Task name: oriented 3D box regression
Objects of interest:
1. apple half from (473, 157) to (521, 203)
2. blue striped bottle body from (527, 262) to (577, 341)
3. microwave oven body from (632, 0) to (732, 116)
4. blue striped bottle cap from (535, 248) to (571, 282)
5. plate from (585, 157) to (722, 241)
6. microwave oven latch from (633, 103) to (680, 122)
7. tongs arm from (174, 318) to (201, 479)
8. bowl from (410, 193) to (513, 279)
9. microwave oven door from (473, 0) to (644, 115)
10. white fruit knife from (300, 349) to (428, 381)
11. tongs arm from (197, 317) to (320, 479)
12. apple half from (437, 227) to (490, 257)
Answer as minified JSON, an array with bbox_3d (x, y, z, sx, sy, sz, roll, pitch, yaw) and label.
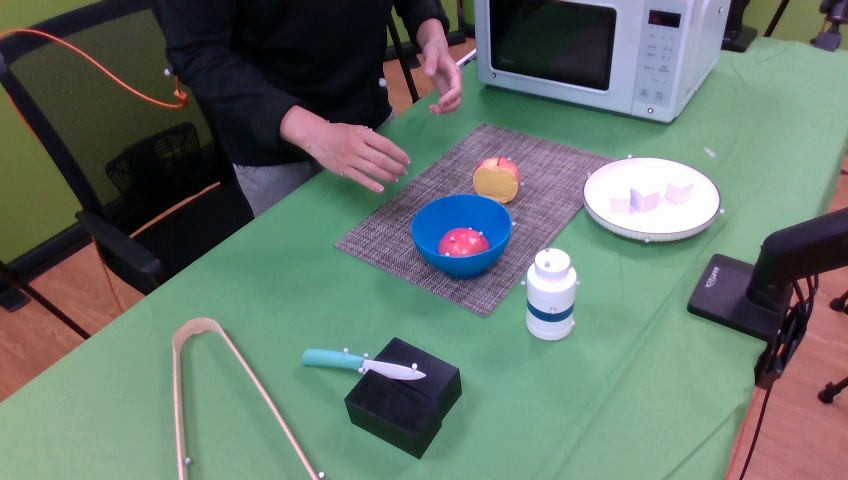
[{"bbox_3d":[0.127,-0.106,1.029,0.080,0.075,0.053,4,36,19],"label":"apple half"},{"bbox_3d":[0.165,0.070,0.786,0.063,0.121,0.063,-4,41,4],"label":"blue striped bottle body"},{"bbox_3d":[0.377,-0.463,1.267,0.438,0.261,0.327,21,48,30],"label":"microwave oven body"},{"bbox_3d":[0.161,0.031,0.753,0.044,0.021,0.044,-4,42,4],"label":"blue striped bottle cap"},{"bbox_3d":[0.367,-0.063,0.979,0.207,0.039,0.206,-4,40,4],"label":"plate"},{"bbox_3d":[0.443,-0.249,1.157,0.078,0.029,0.030,20,48,30],"label":"microwave oven latch"},{"bbox_3d":[-0.272,0.234,0.723,0.051,0.026,0.381,-19,40,-14],"label":"tongs arm"},{"bbox_3d":[0.058,0.005,0.905,0.151,0.077,0.150,-4,40,4],"label":"bowl"},{"bbox_3d":[0.257,-0.396,1.199,0.353,0.245,0.039,21,48,29],"label":"microwave oven door"},{"bbox_3d":[-0.080,0.155,0.748,0.206,0.027,0.016,0,20,34],"label":"white fruit knife"},{"bbox_3d":[-0.199,0.206,0.750,0.028,0.028,0.384,-31,45,-22],"label":"tongs arm"},{"bbox_3d":[0.056,0.002,0.901,0.081,0.033,0.081,-3,41,3],"label":"apple half"}]
